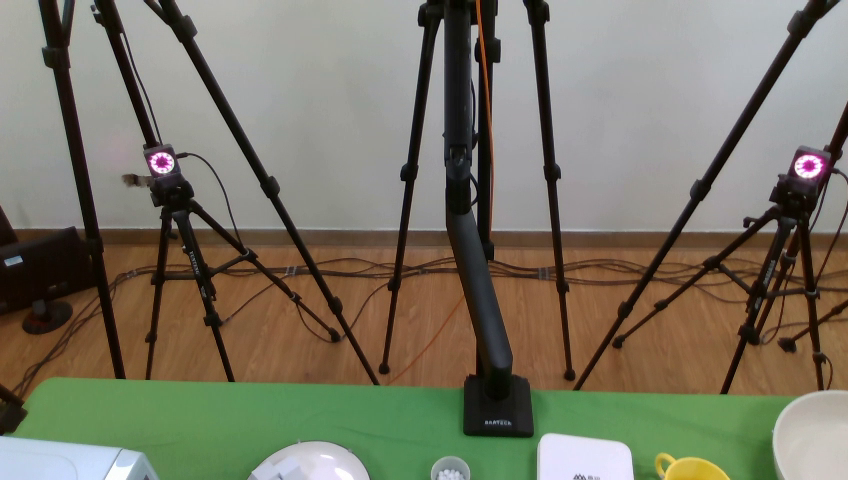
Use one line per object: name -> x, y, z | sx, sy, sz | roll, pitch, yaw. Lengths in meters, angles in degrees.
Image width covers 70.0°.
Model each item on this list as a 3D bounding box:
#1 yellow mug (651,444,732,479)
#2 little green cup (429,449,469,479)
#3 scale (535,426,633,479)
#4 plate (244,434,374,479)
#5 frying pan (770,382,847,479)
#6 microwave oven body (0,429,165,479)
yellow mug -> 0.394, 0.365, 0.917 | 0.100, 0.064, 0.129 | -21, 42, -20
little green cup -> 0.040, 0.368, 0.956 | 0.061, 0.039, 0.061 | -2, 39, 2
scale -> 0.246, 0.383, 0.930 | 0.148, 0.032, 0.199 | 3, 40, 8
plate -> -0.178, 0.398, 0.931 | 0.207, 0.039, 0.205 | -1, 39, 1
frying pan -> 0.711, 0.397, 0.829 | 0.307, 0.103, 0.482 | -17, 33, -15
microwave oven body -> -0.526, 0.471, 0.678 | 0.326, 0.262, 0.438 | 3, 40, 6
